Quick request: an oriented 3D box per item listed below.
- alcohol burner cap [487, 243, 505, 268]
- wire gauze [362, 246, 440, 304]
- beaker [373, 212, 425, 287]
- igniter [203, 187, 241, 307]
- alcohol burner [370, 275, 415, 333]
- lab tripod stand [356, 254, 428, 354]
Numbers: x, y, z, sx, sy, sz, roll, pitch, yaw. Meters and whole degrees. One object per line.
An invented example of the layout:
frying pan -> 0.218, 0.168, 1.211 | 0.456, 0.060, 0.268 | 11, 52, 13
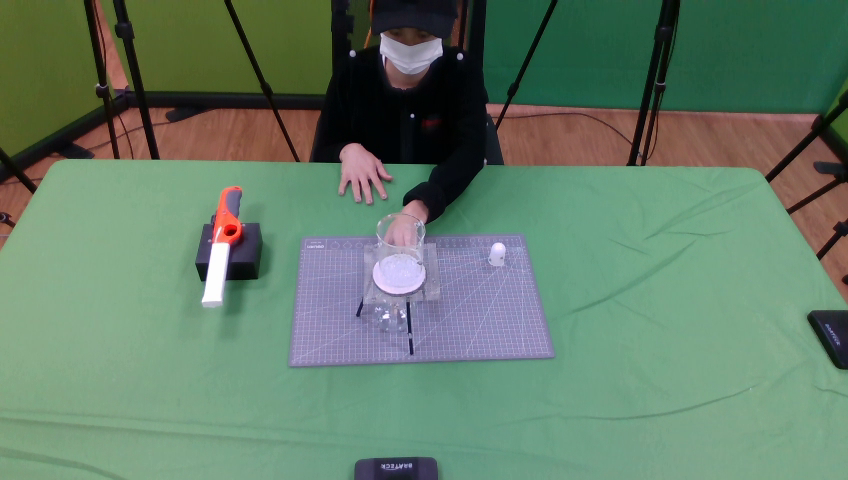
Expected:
alcohol burner cap -> 0.141, 0.027, 1.166 | 0.034, 0.048, 0.033 | 2, 45, -2
wire gauze -> -0.038, 0.052, 0.972 | 0.121, 0.011, 0.124 | 0, 44, -5
beaker -> -0.036, 0.019, 0.936 | 0.074, 0.101, 0.083 | -29, 54, -26
igniter -> -0.365, 0.003, 1.098 | 0.057, 0.025, 0.274 | -1, 49, -7
alcohol burner -> -0.054, 0.103, 1.026 | 0.078, 0.120, 0.077 | 1, 45, -1
lab tripod stand -> -0.046, 0.100, 1.017 | 0.148, 0.132, 0.147 | 1, 47, -1
